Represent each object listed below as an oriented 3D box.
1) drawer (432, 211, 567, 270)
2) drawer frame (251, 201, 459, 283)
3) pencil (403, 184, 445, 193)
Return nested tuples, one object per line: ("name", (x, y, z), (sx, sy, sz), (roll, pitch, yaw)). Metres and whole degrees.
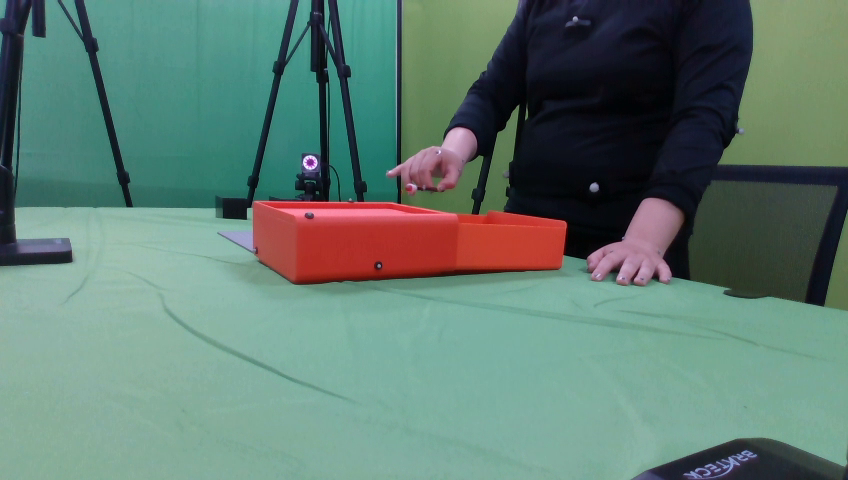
("drawer", (0.063, -0.004, 0.878), (0.213, 0.073, 0.193), (1, 7, -30))
("drawer frame", (-0.095, -0.005, 0.788), (0.215, 0.082, 0.200), (-2, 10, -30))
("pencil", (0.005, -0.079, 0.944), (0.012, 0.012, 0.194), (5, 5, 18))
